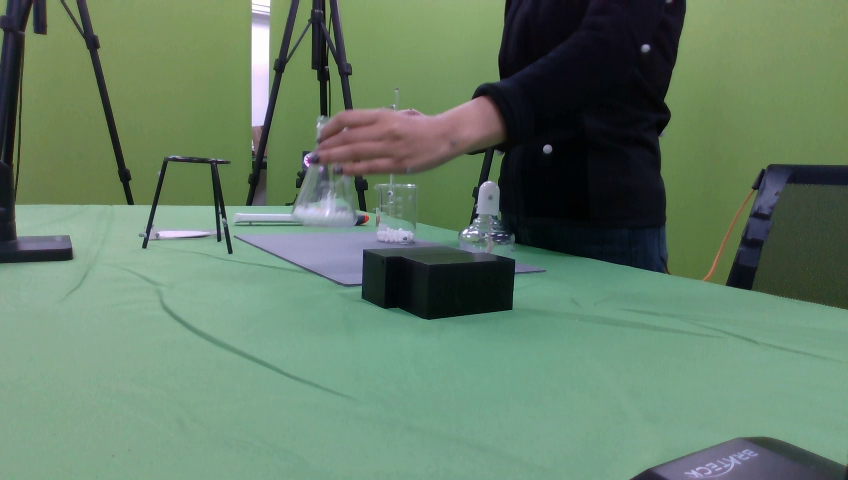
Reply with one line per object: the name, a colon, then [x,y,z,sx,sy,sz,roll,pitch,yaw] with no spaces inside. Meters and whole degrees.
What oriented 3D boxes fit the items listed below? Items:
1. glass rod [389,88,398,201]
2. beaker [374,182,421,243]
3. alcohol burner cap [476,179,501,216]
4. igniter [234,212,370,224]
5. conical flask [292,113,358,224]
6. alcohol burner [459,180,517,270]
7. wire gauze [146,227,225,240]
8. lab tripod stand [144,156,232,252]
glass rod: [-0.052,-0.164,1.034,0.008,0.199,0.008,2,-7,1]
beaker: [-0.049,-0.048,1.031,0.083,0.100,0.074,5,7,24]
alcohol burner cap: [0.086,-0.056,0.801,0.034,0.048,0.034,4,2,0]
igniter: [-0.247,-0.046,1.253,0.278,0.025,0.057,-1,-2,-27]
conical flask: [-0.108,-0.081,0.688,0.075,0.122,0.075,6,5,0]
alcohol burner: [0.086,-0.021,0.805,0.078,0.119,0.078,3,9,0]
wire gauze: [-0.400,-0.012,1.019,0.122,0.011,0.124,-1,6,-26]
lab tripod stand: [-0.325,-0.054,0.881,0.148,0.131,0.148,4,7,0]
